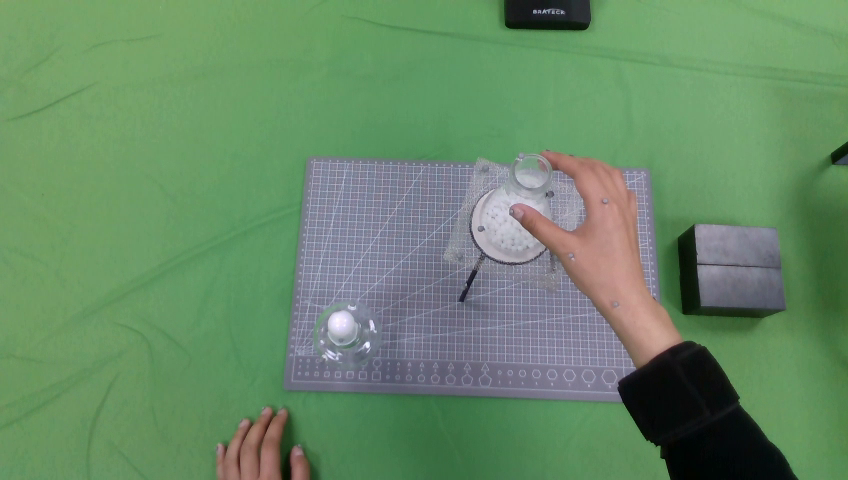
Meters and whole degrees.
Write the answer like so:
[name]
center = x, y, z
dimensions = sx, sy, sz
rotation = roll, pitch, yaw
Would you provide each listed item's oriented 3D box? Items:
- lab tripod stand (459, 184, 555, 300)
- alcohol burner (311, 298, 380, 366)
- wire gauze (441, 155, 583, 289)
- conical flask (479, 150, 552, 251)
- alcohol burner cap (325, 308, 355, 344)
[lab tripod stand]
center = 0.088, -0.001, 0.694
dimensions = 0.148, 0.132, 0.147
rotation = 0, 72, 1
[alcohol burner]
center = -0.089, 0.099, 0.670
dimensions = 0.078, 0.119, 0.077
rotation = 0, 74, 0
[wire gauze]
center = 0.094, -0.020, 0.631
dimensions = 0.121, 0.011, 0.124
rotation = 19, 71, 4
[conical flask]
center = 0.093, -0.041, 0.576
dimensions = 0.075, 0.122, 0.075
rotation = 0, 72, 0
[alcohol burner cap]
center = -0.089, 0.088, 0.636
dimensions = 0.034, 0.048, 0.033
rotation = 2, 69, -4
